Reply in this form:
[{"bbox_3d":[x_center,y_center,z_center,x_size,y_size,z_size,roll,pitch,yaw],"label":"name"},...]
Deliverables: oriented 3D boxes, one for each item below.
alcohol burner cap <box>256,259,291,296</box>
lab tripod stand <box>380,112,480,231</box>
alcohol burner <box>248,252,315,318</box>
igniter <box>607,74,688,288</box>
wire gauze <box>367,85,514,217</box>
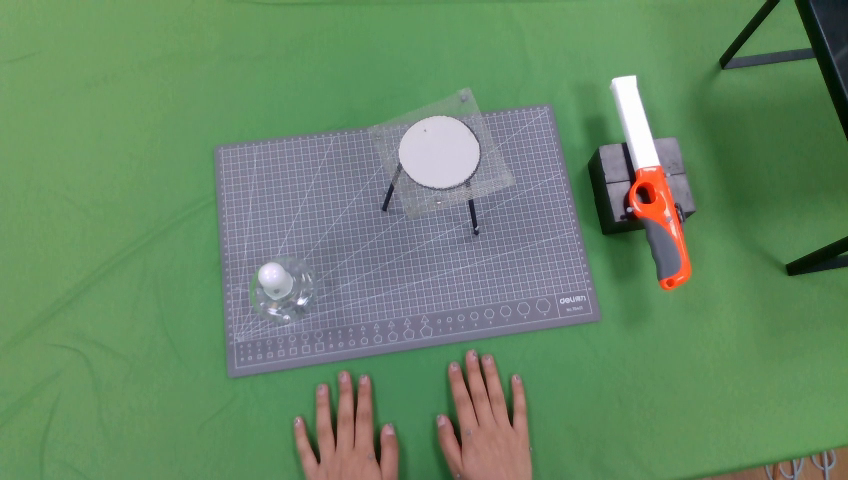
[{"bbox_3d":[-0.163,0.038,0.647,0.034,0.048,0.033,0,69,0],"label":"alcohol burner cap"},{"bbox_3d":[0.014,-0.084,0.715,0.148,0.132,0.147,0,72,0],"label":"lab tripod stand"},{"bbox_3d":[-0.163,0.047,0.682,0.078,0.119,0.077,1,75,-3],"label":"alcohol burner"},{"bbox_3d":[0.268,-0.077,0.730,0.057,0.025,0.274,-8,72,-2],"label":"igniter"},{"bbox_3d":[0.016,-0.096,0.648,0.125,0.011,0.120,-21,75,-7],"label":"wire gauze"}]
